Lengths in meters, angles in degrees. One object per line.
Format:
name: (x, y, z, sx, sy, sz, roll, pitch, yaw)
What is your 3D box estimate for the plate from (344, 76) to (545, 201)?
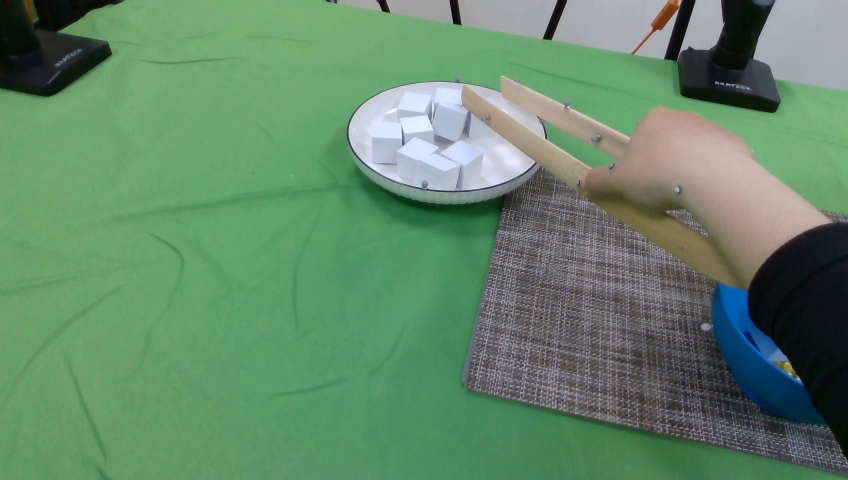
plate: (0.020, -0.106, 0.636, 0.209, 0.038, 0.207, 2, 44, -1)

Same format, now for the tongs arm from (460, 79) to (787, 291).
tongs arm: (0.122, -0.069, 0.504, 0.028, 0.028, 0.383, -13, 35, -21)

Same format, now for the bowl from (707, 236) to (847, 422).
bowl: (0.273, 0.074, 0.440, 0.151, 0.077, 0.150, 2, 44, -2)

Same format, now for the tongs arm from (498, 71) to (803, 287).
tongs arm: (0.150, -0.077, 0.513, 0.051, 0.027, 0.380, -18, 36, -21)
